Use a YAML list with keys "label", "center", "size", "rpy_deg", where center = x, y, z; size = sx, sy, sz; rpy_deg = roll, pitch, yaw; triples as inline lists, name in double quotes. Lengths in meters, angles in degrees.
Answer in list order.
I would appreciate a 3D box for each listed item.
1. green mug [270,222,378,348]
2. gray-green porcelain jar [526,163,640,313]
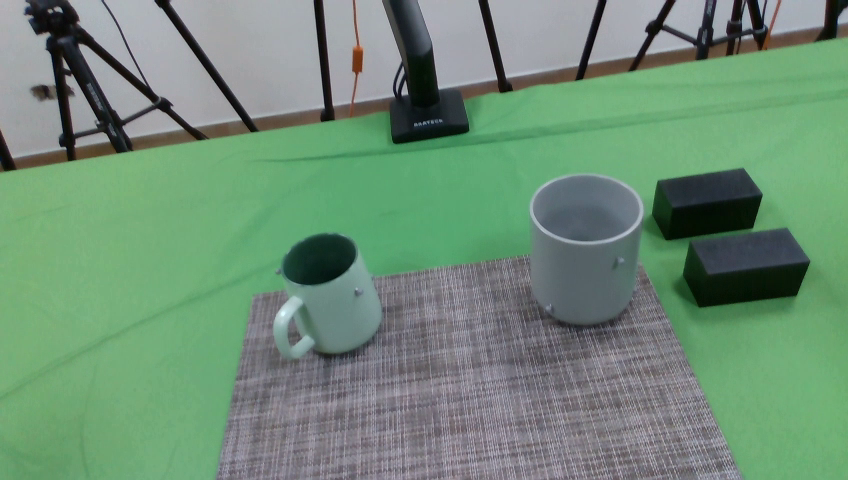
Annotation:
- label: "green mug"
  center: [-0.108, 0.056, 0.622]
  size: [0.092, 0.106, 0.125]
  rpy_deg: [18, 50, 26]
- label: "gray-green porcelain jar"
  center: [0.157, 0.003, 0.611]
  size: [0.106, 0.128, 0.105]
  rpy_deg: [-6, 43, 6]
